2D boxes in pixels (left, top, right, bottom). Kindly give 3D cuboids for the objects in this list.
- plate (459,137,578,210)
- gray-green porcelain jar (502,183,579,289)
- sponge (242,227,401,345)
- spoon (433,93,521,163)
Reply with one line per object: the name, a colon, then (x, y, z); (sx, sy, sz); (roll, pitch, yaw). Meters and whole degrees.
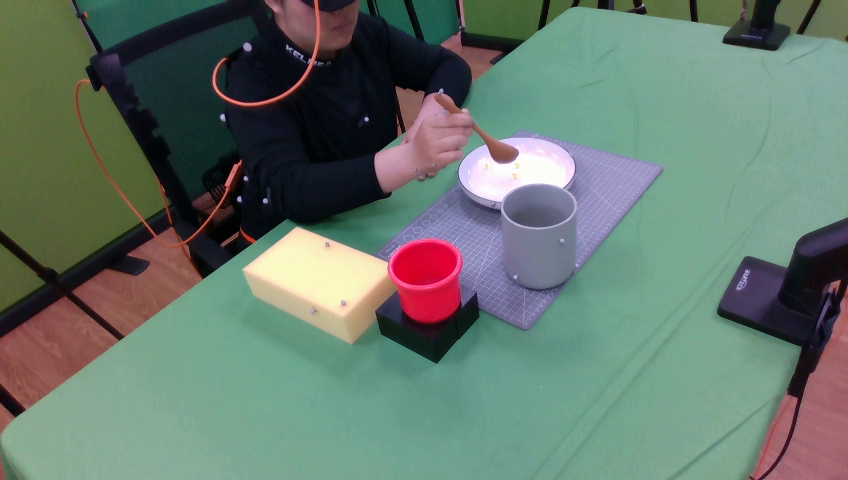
plate: (0.166, -0.113, 1.068); (0.207, 0.039, 0.206); (-5, 40, 5)
gray-green porcelain jar: (0.167, -0.001, 0.866); (0.106, 0.127, 0.105); (-5, 40, 5)
sponge: (-0.154, 0.063, 0.907); (0.205, 0.061, 0.118); (19, 48, 29)
spoon: (0.079, -0.163, 0.898); (0.041, 0.195, 0.021); (-29, 45, 34)
